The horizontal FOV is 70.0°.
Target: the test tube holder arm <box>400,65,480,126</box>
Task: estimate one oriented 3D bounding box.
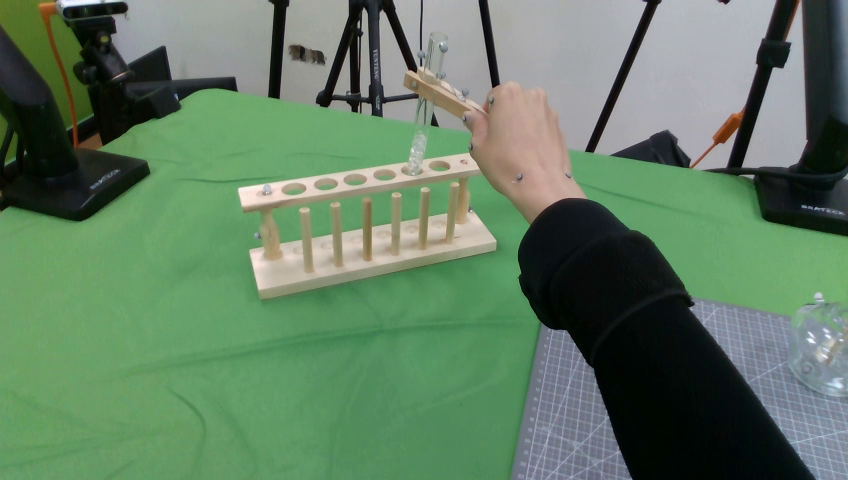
[{"bbox_3d":[0.014,-0.124,0.519,0.087,0.015,0.010,38,37,23],"label":"test tube holder arm"}]

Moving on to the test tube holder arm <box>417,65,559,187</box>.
[{"bbox_3d":[0.047,-0.099,0.502,0.013,0.015,0.176,-14,48,-40],"label":"test tube holder arm"}]

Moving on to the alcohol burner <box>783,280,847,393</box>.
[{"bbox_3d":[0.333,0.063,0.477,0.078,0.120,0.077,1,35,0],"label":"alcohol burner"}]

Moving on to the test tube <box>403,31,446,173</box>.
[{"bbox_3d":[-0.002,-0.118,0.552,0.017,0.151,0.017,7,44,-6],"label":"test tube"}]

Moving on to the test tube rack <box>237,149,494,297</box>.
[{"bbox_3d":[-0.051,-0.021,0.598,0.243,0.086,0.066,-11,39,-17],"label":"test tube rack"}]
